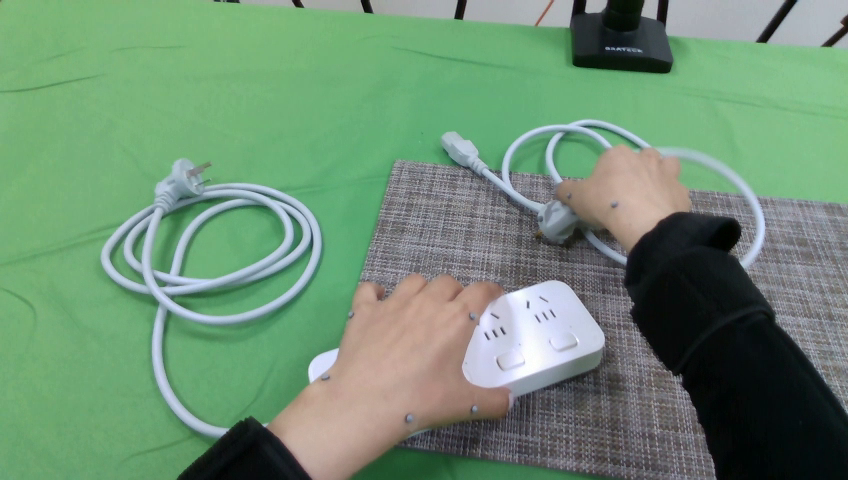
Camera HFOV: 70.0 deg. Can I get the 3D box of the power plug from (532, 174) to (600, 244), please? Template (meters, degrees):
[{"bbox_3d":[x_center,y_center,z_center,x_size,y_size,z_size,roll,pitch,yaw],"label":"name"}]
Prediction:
[{"bbox_3d":[0.128,-0.023,0.537,0.072,0.052,0.035,-33,92,-34],"label":"power plug"}]

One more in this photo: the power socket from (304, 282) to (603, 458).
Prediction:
[{"bbox_3d":[0.024,0.089,0.436,0.227,0.033,0.071,-16,48,-15],"label":"power socket"}]
